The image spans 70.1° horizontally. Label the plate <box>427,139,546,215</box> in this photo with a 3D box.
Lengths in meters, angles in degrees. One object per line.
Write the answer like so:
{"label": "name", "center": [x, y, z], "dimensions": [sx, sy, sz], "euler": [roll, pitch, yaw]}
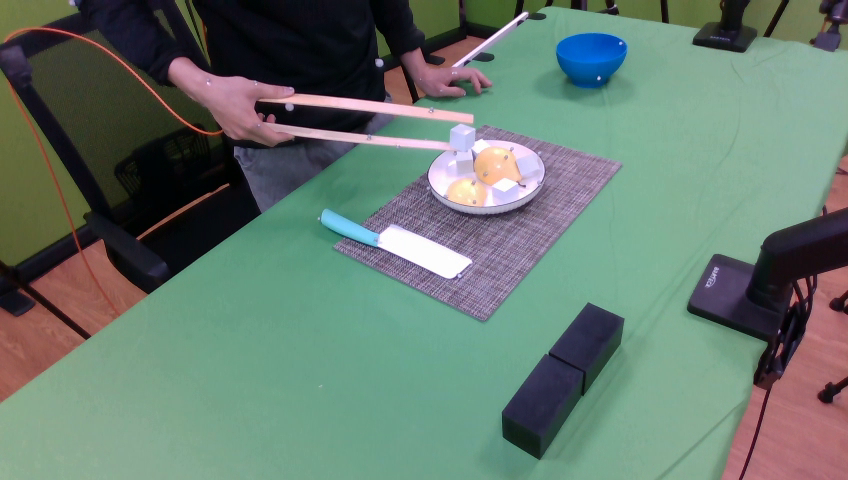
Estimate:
{"label": "plate", "center": [0.109, -0.106, 1.058], "dimensions": [0.207, 0.039, 0.206], "euler": [-4, 41, 4]}

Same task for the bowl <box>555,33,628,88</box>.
{"label": "bowl", "center": [0.361, -0.384, 1.318], "dimensions": [0.151, 0.077, 0.150], "euler": [-4, 41, 4]}

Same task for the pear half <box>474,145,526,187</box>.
{"label": "pear half", "center": [0.140, -0.129, 1.059], "dimensions": [0.076, 0.056, 0.109], "euler": [-37, 53, -25]}

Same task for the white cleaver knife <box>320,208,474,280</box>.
{"label": "white cleaver knife", "center": [-0.053, 0.001, 0.978], "dimensions": [0.284, 0.021, 0.066], "euler": [23, 39, 26]}

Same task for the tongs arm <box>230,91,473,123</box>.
{"label": "tongs arm", "center": [-0.116, -0.209, 0.961], "dimensions": [0.388, 0.028, 0.027], "euler": [5, 48, 0]}

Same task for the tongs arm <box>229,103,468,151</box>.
{"label": "tongs arm", "center": [-0.118, -0.183, 0.985], "dimensions": [0.385, 0.051, 0.026], "euler": [4, 44, 1]}

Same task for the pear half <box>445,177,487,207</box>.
{"label": "pear half", "center": [0.072, -0.086, 1.032], "dimensions": [0.070, 0.031, 0.087], "euler": [-20, 37, -10]}
